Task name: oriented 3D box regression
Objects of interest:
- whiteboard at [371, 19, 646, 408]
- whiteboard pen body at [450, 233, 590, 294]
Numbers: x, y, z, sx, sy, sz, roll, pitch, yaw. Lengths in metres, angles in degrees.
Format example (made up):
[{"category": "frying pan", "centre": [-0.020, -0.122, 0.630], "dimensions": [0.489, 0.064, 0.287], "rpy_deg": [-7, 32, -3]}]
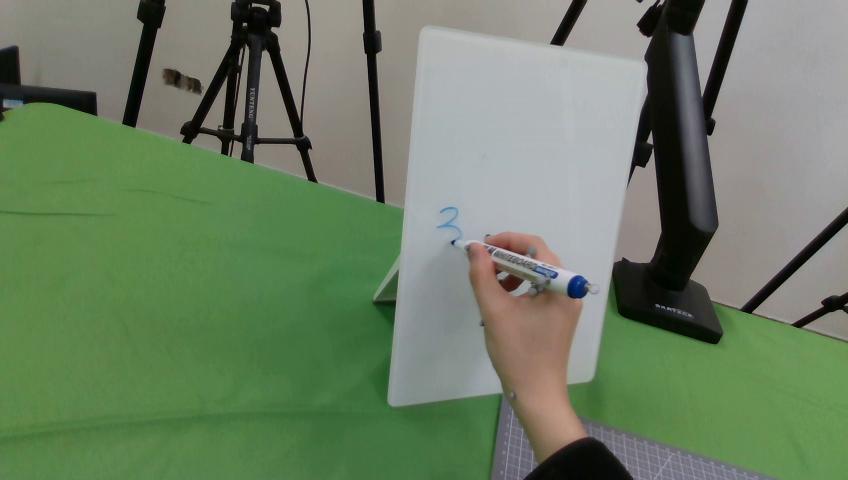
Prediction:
[{"category": "whiteboard", "centre": [0.055, -0.027, 0.568], "dimensions": [0.218, 0.306, 0.142], "rpy_deg": [-1, 15, -24]}, {"category": "whiteboard pen body", "centre": [0.060, 0.012, 0.428], "dimensions": [0.017, 0.017, 0.139], "rpy_deg": [-7, 17, -33]}]
